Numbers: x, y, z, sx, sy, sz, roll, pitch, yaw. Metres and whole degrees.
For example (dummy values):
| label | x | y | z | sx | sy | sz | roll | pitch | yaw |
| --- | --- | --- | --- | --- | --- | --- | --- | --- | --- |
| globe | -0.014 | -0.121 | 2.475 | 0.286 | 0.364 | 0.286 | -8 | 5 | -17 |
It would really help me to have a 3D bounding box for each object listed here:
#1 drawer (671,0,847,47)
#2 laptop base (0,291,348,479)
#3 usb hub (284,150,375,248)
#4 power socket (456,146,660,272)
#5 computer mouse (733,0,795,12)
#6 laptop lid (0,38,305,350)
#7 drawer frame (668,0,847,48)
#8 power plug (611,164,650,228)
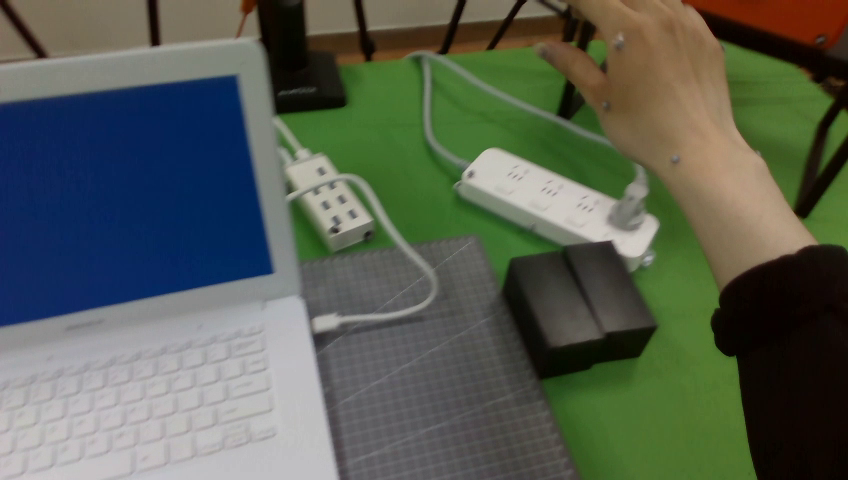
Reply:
| label | x | y | z | sx | sy | sz | roll | pitch | yaw |
| --- | --- | --- | --- | --- | --- | --- | --- | --- | --- |
| drawer | 0.355 | -0.304 | 0.638 | 0.193 | 0.074 | 0.211 | 27 | 50 | 19 |
| laptop base | -0.243 | 0.166 | 0.447 | 0.355 | 0.023 | 0.233 | -11 | 53 | -14 |
| usb hub | -0.103 | -0.046 | 0.646 | 0.049 | 0.025 | 0.124 | -23 | 53 | -23 |
| power socket | 0.144 | -0.038 | 0.654 | 0.225 | 0.033 | 0.072 | 27 | 50 | 20 |
| computer mouse | 0.333 | -0.280 | 0.631 | 0.063 | 0.041 | 0.116 | -13 | 55 | -20 |
| laptop lid | -0.280 | -0.016 | 0.451 | 0.357 | 0.244 | 0.013 | -12 | 37 | -13 |
| drawer frame | 0.356 | -0.307 | 0.639 | 0.200 | 0.083 | 0.213 | 26 | 50 | 19 |
| power plug | 0.223 | -0.038 | 0.630 | 0.035 | 0.053 | 0.072 | 35 | 56 | 27 |
